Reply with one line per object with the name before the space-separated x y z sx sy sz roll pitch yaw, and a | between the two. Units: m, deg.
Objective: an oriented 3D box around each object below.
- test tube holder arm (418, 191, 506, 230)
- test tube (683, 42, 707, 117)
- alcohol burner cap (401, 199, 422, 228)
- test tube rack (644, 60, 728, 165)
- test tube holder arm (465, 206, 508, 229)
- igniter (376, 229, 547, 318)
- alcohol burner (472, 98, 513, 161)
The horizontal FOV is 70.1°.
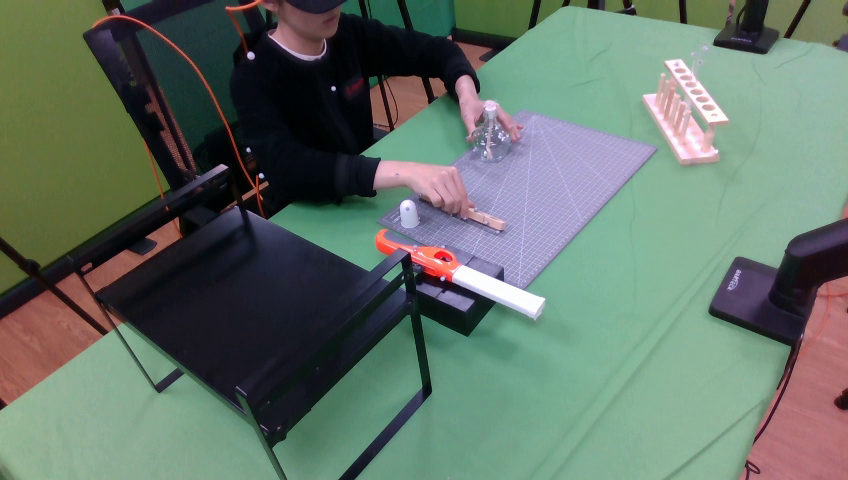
test tube holder arm | 0.061 -0.052 1.024 0.177 0.015 0.013 23 14 31
test tube | 0.497 -0.292 1.114 0.017 0.151 0.017 -4 44 4
alcohol burner cap | -0.023 -0.047 1.014 0.034 0.048 0.033 -4 41 4
test tube rack | 0.485 -0.246 1.139 0.067 0.085 0.241 -5 41 4
test tube holder arm | 0.100 -0.038 1.005 0.087 0.015 0.010 23 14 32
igniter | 0.040 0.041 0.845 0.274 0.025 0.057 22 46 27
alcohol burner | 0.127 -0.208 1.123 0.078 0.119 0.077 -5 39 5
